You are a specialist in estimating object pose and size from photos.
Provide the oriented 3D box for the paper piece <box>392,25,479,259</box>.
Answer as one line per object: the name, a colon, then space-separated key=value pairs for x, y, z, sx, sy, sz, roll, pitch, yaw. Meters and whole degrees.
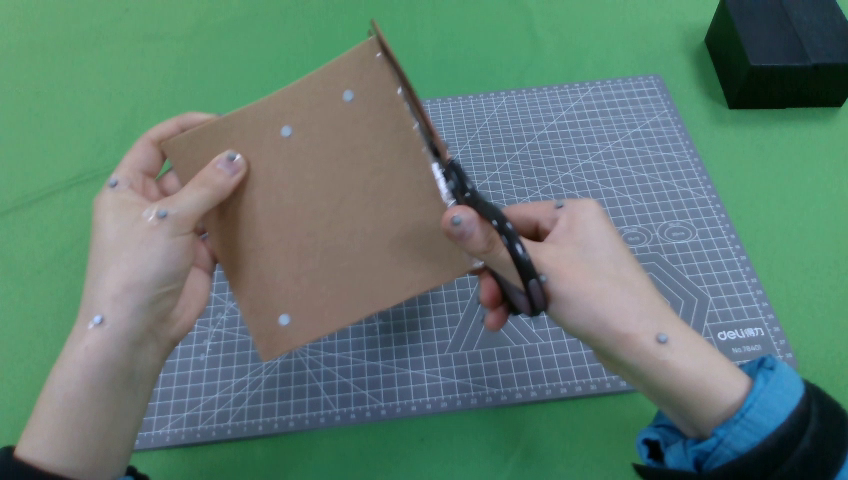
paper piece: x=0.004 y=-0.058 z=0.391 sx=0.004 sy=0.135 sz=0.135 roll=-20 pitch=97 yaw=0

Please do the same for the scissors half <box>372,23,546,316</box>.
scissors half: x=0.014 y=-0.041 z=0.303 sx=0.013 sy=0.040 sz=0.174 roll=-27 pitch=75 yaw=-9

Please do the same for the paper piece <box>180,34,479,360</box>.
paper piece: x=-0.057 y=-0.022 z=0.326 sx=0.138 sy=0.009 sz=0.135 roll=-24 pitch=80 yaw=15

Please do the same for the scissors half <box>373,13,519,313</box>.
scissors half: x=0.013 y=-0.039 z=0.325 sx=0.013 sy=0.040 sz=0.176 roll=-27 pitch=100 yaw=-4
